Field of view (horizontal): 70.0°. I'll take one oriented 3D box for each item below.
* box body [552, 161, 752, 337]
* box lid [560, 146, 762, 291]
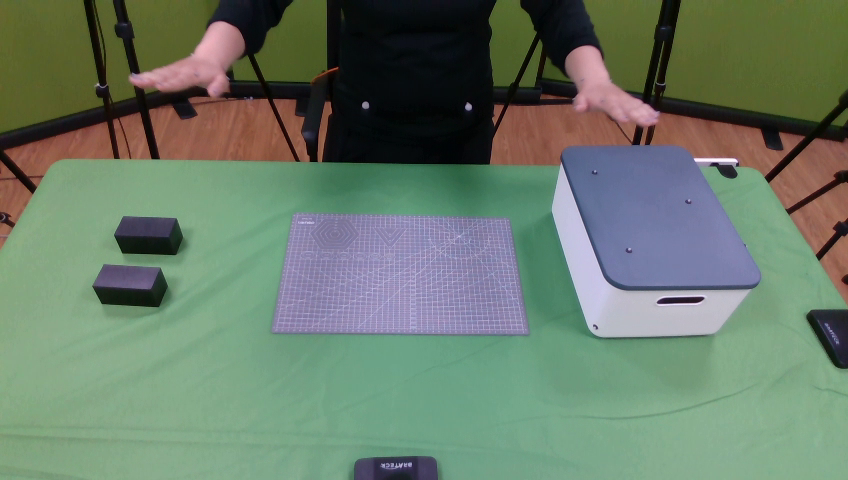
[{"bbox_3d":[0.401,-0.001,1.131,0.254,0.161,0.361,-1,46,-5],"label":"box body"},{"bbox_3d":[0.404,-0.052,1.076,0.263,0.015,0.369,-1,45,-5],"label":"box lid"}]
